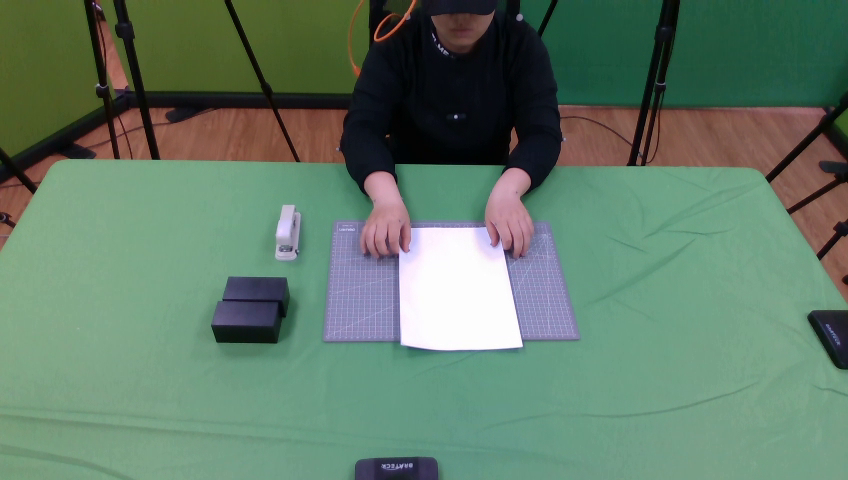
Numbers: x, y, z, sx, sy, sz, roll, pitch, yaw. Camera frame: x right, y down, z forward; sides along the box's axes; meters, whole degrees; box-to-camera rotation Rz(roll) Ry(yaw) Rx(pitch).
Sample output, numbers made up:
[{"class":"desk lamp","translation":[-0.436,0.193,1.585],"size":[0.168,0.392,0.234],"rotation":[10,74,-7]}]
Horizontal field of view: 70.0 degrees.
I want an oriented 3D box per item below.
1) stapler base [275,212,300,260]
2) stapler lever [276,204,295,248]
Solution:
[{"class":"stapler base","translation":[-0.268,-0.016,1.191],"size":[0.041,0.024,0.129],"rotation":[1,44,-8]},{"class":"stapler lever","translation":[-0.267,-0.034,1.175],"size":[0.027,0.040,0.117],"rotation":[1,45,-8]}]
